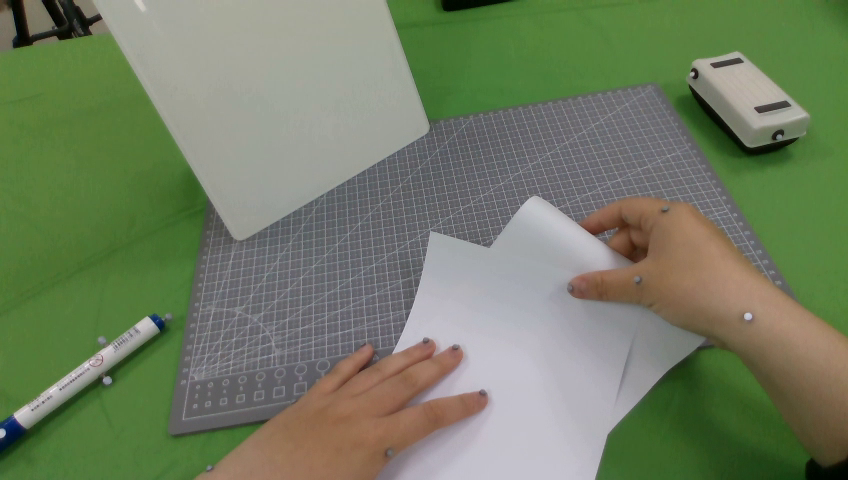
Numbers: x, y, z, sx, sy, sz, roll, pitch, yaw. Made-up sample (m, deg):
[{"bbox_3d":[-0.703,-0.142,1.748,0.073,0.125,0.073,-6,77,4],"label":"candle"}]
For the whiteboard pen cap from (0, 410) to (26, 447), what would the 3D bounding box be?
[{"bbox_3d":[-0.292,0.132,0.418,0.018,0.018,0.033,32,59,30],"label":"whiteboard pen cap"}]

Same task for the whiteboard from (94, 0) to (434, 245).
[{"bbox_3d":[-0.158,-0.194,0.536,0.217,0.308,0.142,-33,32,-19],"label":"whiteboard"}]

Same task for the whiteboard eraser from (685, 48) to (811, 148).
[{"bbox_3d":[0.290,-0.129,0.550,0.055,0.042,0.111,-15,49,-3],"label":"whiteboard eraser"}]

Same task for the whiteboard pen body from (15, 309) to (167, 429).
[{"bbox_3d":[-0.252,0.099,0.444,0.017,0.017,0.140,32,59,31],"label":"whiteboard pen body"}]
